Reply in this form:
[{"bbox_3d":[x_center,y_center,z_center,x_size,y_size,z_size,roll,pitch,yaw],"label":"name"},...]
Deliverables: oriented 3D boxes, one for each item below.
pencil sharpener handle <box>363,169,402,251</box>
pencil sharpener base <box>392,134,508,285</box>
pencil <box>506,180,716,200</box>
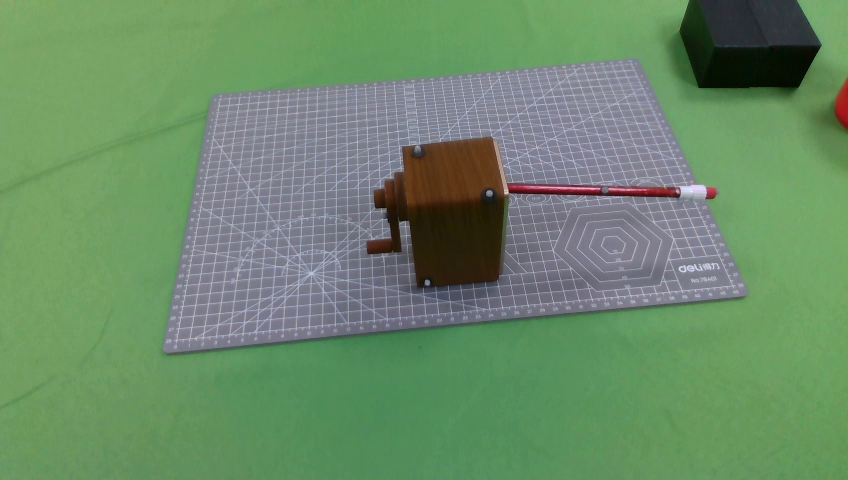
[{"bbox_3d":[-0.033,-0.019,0.443,0.030,0.068,0.035,-6,39,-1],"label":"pencil sharpener handle"},{"bbox_3d":[0.018,-0.019,0.456,0.077,0.108,0.060,-6,53,-1],"label":"pencil sharpener base"},{"bbox_3d":[0.120,-0.038,0.443,0.194,0.012,0.012,1,53,-6],"label":"pencil"}]
